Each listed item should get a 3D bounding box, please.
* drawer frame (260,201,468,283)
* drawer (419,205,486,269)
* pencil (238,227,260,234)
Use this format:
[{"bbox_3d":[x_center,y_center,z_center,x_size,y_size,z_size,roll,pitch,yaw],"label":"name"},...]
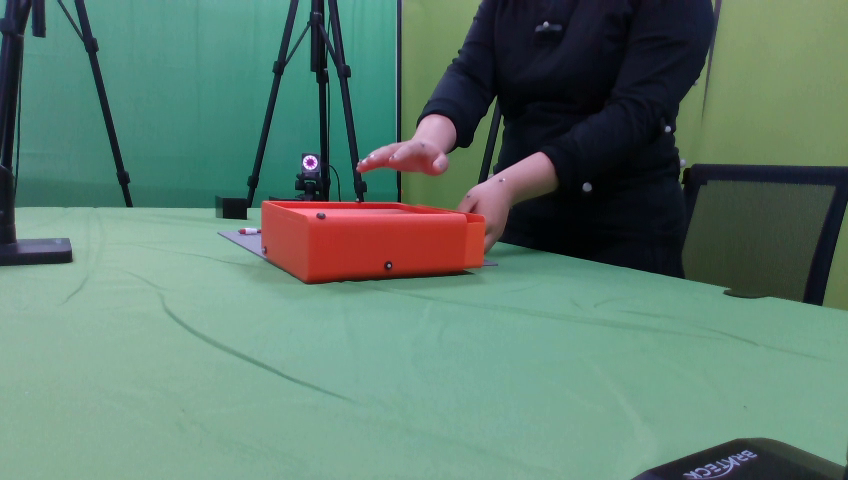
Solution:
[{"bbox_3d":[-0.084,-0.005,0.794,0.215,0.082,0.200,-2,10,-30],"label":"drawer frame"},{"bbox_3d":[-0.056,-0.004,0.810,0.213,0.073,0.193,-3,9,-29],"label":"drawer"},{"bbox_3d":[-0.241,-0.015,1.105,0.195,0.012,0.012,1,7,-30],"label":"pencil"}]
